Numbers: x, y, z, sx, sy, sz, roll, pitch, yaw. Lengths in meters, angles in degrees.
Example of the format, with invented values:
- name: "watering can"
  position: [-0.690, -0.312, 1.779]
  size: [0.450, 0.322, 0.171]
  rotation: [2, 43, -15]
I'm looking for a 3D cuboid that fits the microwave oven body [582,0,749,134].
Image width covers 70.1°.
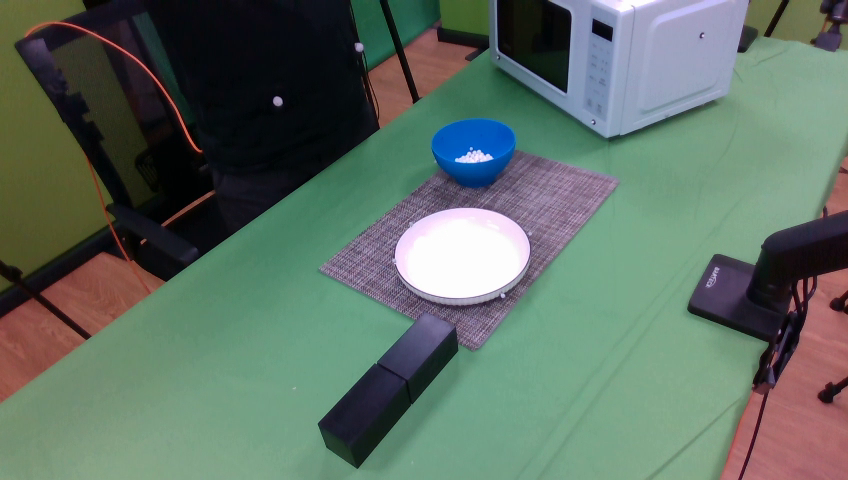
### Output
- name: "microwave oven body"
  position: [0.382, -0.444, 1.246]
  size: [0.327, 0.261, 0.437]
  rotation: [-22, 42, -16]

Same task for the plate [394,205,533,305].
- name: "plate"
  position: [0.059, 0.025, 0.915]
  size: [0.207, 0.039, 0.206]
  rotation: [-4, 41, 4]

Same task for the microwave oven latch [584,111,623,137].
- name: "microwave oven latch"
  position: [0.337, -0.222, 1.142]
  size: [0.030, 0.029, 0.078]
  rotation: [-21, 42, -14]

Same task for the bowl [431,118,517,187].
- name: "bowl"
  position: [0.090, -0.147, 1.080]
  size: [0.151, 0.077, 0.150]
  rotation: [-4, 40, 4]

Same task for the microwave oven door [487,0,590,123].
- name: "microwave oven door"
  position: [0.232, -0.420, 1.230]
  size: [0.039, 0.245, 0.352]
  rotation: [-22, 43, -16]
